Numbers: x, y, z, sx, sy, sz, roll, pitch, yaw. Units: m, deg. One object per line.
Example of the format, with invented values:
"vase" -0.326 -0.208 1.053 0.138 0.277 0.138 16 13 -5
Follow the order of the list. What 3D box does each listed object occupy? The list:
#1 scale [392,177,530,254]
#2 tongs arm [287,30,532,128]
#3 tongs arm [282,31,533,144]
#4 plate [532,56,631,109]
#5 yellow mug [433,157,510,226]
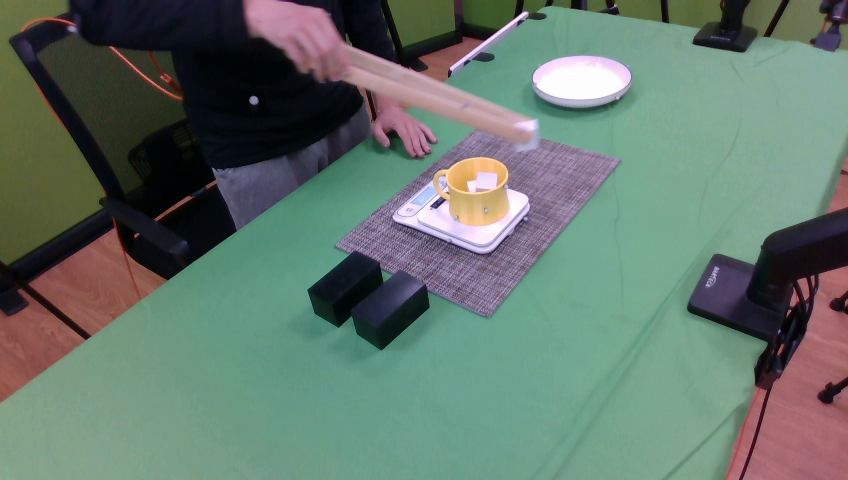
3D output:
"scale" 0.060 -0.050 1.006 0.199 0.032 0.149 22 48 30
"tongs arm" -0.017 -0.236 0.910 0.389 0.028 0.028 18 44 -11
"tongs arm" -0.019 -0.221 0.892 0.387 0.026 0.050 16 41 -14
"plate" 0.336 -0.335 1.301 0.207 0.039 0.206 -4 41 4
"yellow mug" 0.072 -0.082 0.969 0.130 0.064 0.100 13 46 24
